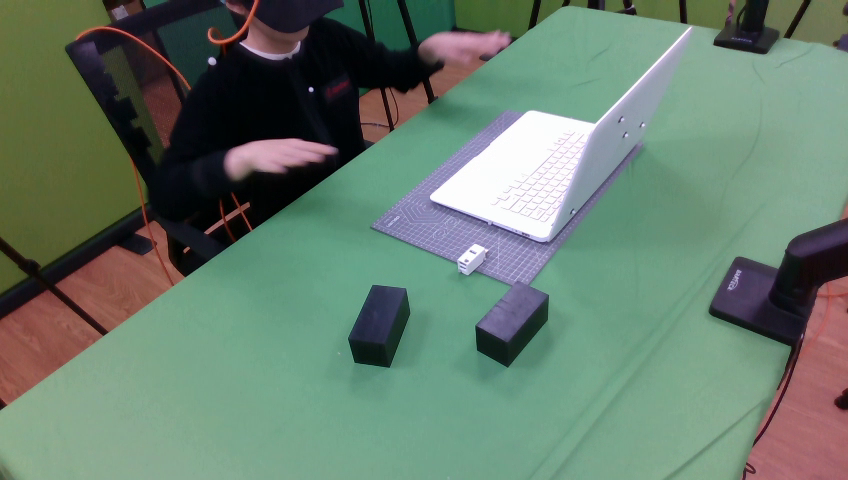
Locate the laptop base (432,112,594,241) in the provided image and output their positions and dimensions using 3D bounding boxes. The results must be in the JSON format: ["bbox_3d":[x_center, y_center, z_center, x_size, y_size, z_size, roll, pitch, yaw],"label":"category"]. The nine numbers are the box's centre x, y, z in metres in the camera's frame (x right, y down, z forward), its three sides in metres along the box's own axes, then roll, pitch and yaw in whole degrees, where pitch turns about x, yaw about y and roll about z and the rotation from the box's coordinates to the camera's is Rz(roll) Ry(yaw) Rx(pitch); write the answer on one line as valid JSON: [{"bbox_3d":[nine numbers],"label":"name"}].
[{"bbox_3d":[0.208,-0.129,1.098,0.233,0.023,0.355,20,47,34],"label":"laptop base"}]

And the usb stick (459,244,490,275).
[{"bbox_3d":[0.080,0.026,0.926,0.021,0.027,0.059,27,49,33],"label":"usb stick"}]

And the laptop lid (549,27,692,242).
[{"bbox_3d":[0.311,-0.167,0.948,0.013,0.242,0.358,33,52,20],"label":"laptop lid"}]
